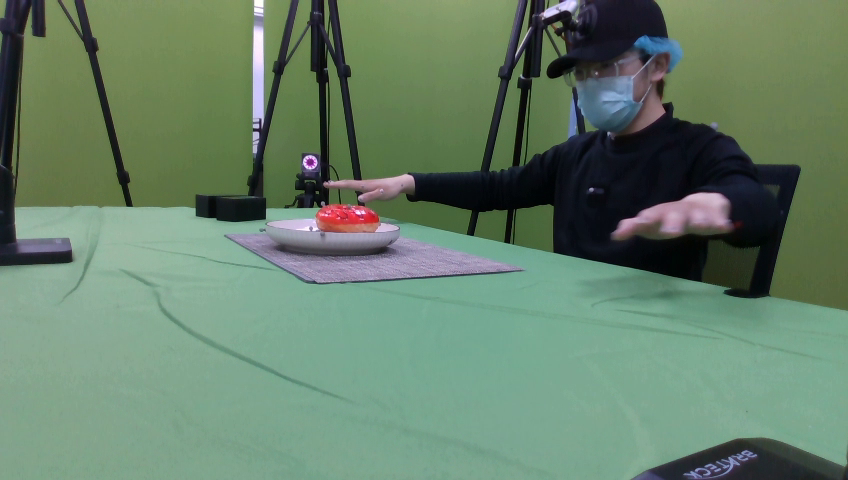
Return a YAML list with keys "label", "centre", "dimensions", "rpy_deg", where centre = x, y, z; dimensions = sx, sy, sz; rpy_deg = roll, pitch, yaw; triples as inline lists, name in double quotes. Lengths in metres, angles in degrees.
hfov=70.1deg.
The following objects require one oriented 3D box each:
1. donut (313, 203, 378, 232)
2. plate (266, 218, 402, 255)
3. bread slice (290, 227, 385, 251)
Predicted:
- label: "donut"
  centre: [-0.119, -0.030, 0.915]
  dimensions: [0.099, 0.048, 0.099]
  rpy_deg: [5, 9, -1]
- label: "plate"
  centre: [-0.138, -0.006, 0.941]
  dimensions: [0.208, 0.039, 0.207]
  rpy_deg: [2, 7, 0]
- label: "bread slice"
  centre: [-0.142, -0.004, 0.939]
  dimensions: [0.131, 0.019, 0.105]
  rpy_deg: [9, 9, 33]
